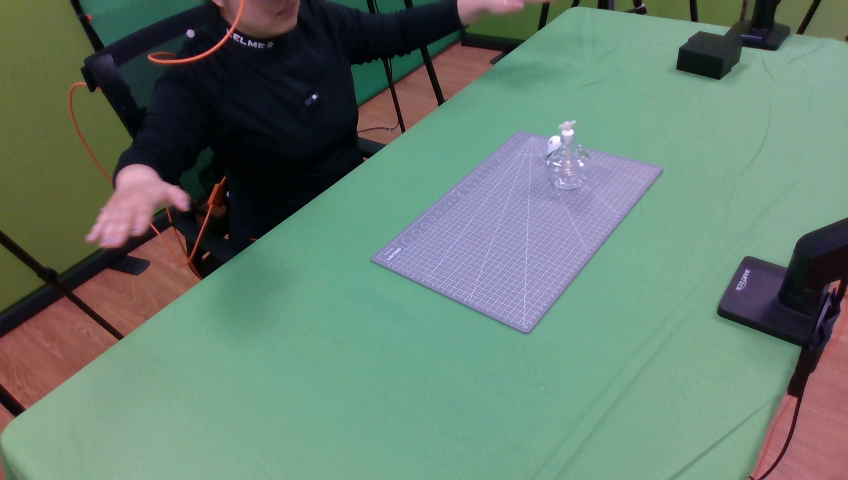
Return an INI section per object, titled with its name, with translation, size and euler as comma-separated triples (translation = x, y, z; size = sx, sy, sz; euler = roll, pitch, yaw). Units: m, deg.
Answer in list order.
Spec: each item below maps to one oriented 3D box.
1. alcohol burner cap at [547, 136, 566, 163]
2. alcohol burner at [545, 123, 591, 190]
[alcohol burner cap]
translation = 0.245, -0.170, 1.118
size = 0.034, 0.048, 0.033
euler = -6, 40, 5
[alcohol burner]
translation = 0.247, -0.147, 1.034
size = 0.078, 0.120, 0.077
euler = -7, 41, 6
